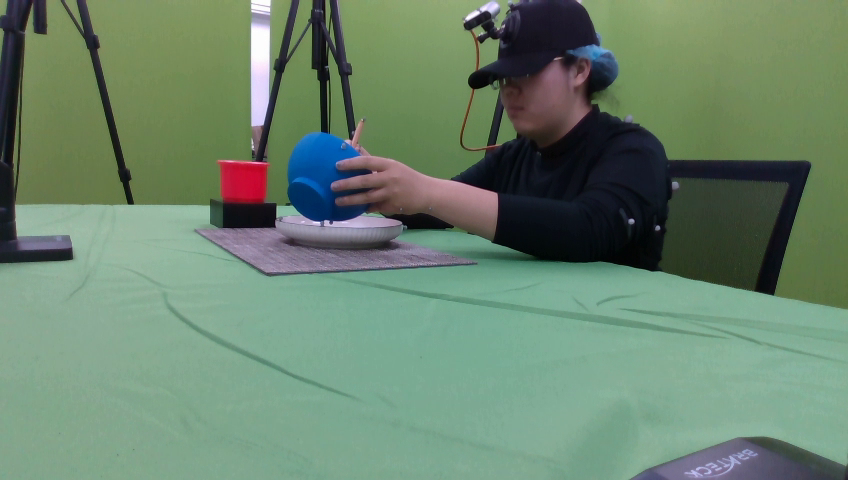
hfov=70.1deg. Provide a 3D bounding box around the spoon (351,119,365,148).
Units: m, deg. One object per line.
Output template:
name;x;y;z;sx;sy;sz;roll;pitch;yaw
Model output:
spoon;-0.132;-0.135;1.007;0.022;0.193;0.041;28;-37;-6

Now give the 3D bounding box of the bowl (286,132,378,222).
bowl;-0.154;-0.079;0.914;0.150;0.152;0.077;7;42;32

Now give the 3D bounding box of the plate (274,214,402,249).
plate;-0.140;-0.015;0.993;0.208;0.039;0.207;3;8;0
